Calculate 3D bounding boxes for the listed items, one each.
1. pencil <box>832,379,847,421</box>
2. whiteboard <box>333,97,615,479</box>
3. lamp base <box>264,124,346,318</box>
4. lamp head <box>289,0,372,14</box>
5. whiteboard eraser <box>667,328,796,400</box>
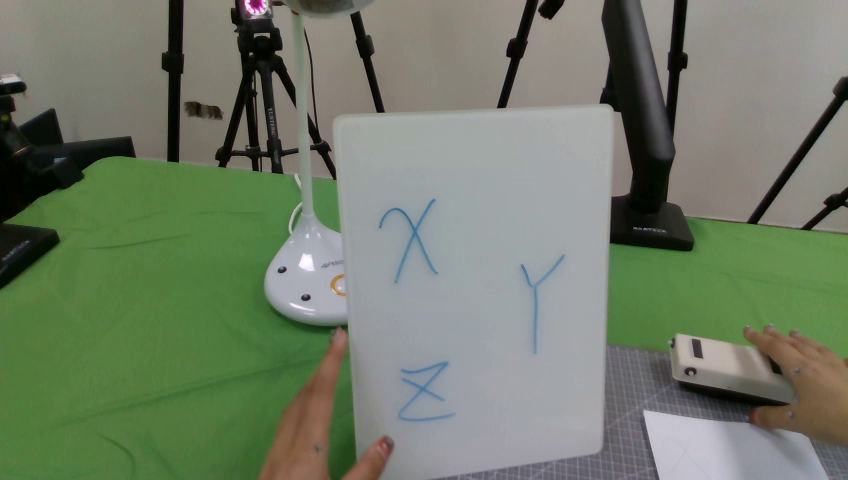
[{"bbox_3d":[0.394,0.196,0.537,0.012,0.012,0.193,10,35,11],"label":"pencil"},{"bbox_3d":[0.035,0.032,0.545,0.218,0.306,0.143,-5,14,-10],"label":"whiteboard"},{"bbox_3d":[-0.114,-0.030,0.690,0.161,0.181,0.177,-22,38,-33],"label":"lamp base"},{"bbox_3d":[-0.086,-0.264,0.494,0.113,0.113,0.122,-15,62,-25],"label":"lamp head"},{"bbox_3d":[0.305,0.125,0.608,0.112,0.042,0.055,11,35,12],"label":"whiteboard eraser"}]
